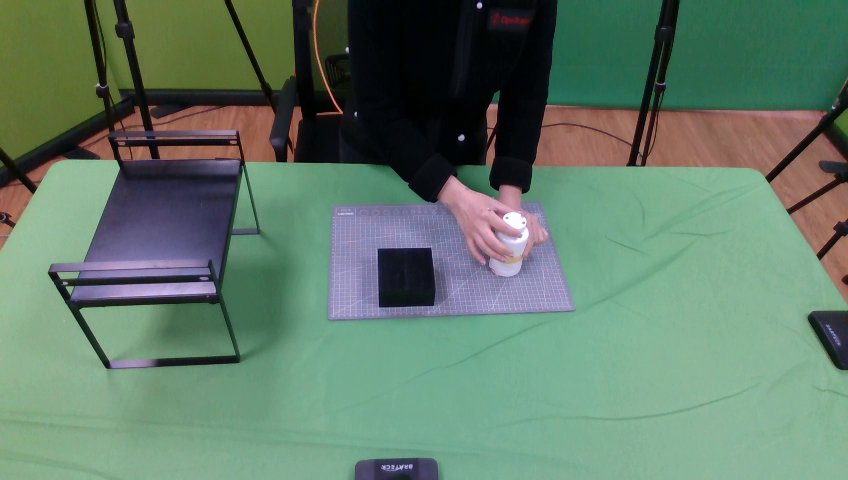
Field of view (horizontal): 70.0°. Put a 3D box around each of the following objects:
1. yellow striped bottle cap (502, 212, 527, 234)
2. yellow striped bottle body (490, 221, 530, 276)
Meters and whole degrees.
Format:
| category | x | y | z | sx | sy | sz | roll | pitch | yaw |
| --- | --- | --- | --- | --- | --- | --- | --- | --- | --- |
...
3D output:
| category | x | y | z | sx | sy | sz | roll | pitch | yaw |
| --- | --- | --- | --- | --- | --- | --- | --- | --- | --- |
| yellow striped bottle cap | 0.163 | -0.031 | 1.089 | 0.044 | 0.019 | 0.044 | 3 | 45 | -3 |
| yellow striped bottle body | 0.161 | 0.006 | 1.128 | 0.063 | 0.121 | 0.062 | 2 | 47 | -2 |
